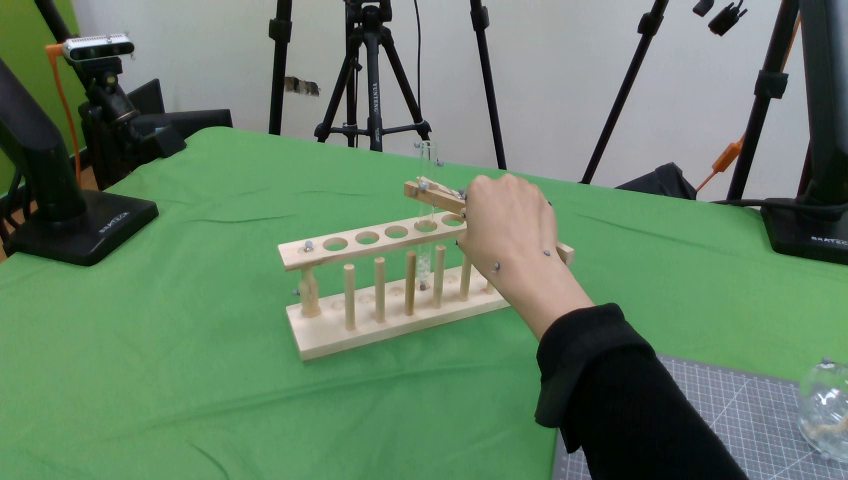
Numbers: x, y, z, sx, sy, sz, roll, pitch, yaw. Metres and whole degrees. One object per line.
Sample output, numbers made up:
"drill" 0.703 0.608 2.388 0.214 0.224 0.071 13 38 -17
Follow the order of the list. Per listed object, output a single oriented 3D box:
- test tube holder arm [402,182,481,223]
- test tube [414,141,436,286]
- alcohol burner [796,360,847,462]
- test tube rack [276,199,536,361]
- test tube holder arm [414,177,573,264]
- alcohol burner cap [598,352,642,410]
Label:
"test tube holder arm" 0.016 -0.034 0.540 0.087 0.015 0.010 21 38 31
"test tube" 0.000 -0.021 0.570 0.017 0.151 0.017 2 30 -1
"alcohol burner" 0.328 0.109 0.451 0.078 0.120 0.077 2 36 -1
"test tube rack" -0.009 0.033 0.579 0.243 0.086 0.066 -12 36 -20
"test tube holder arm" 0.052 -0.020 0.517 0.013 0.015 0.176 -28 40 -35
"alcohol burner cap" 0.164 0.114 0.502 0.034 0.048 0.033 2 35 -1
